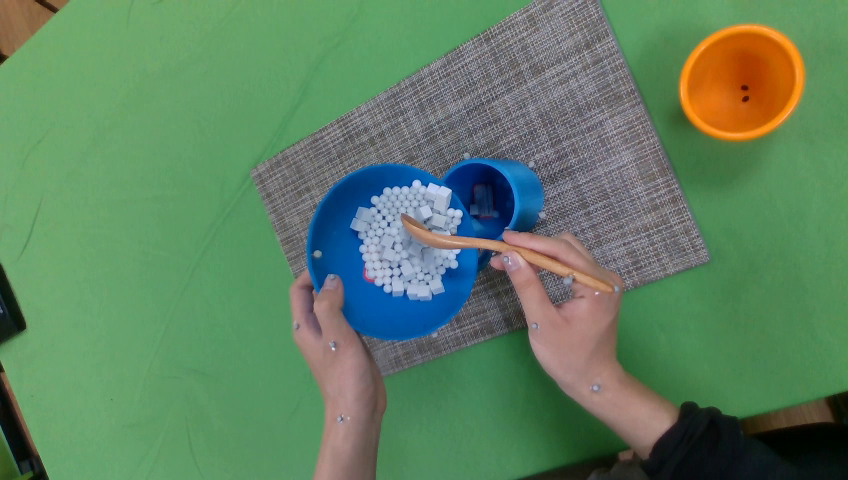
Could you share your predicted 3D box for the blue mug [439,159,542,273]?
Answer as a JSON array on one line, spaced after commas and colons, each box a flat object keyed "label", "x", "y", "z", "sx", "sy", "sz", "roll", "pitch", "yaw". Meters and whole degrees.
[{"label": "blue mug", "x": 0.062, "y": -0.022, "z": 0.598, "sx": 0.082, "sy": 0.106, "sz": 0.117, "roll": 17, "pitch": 103, "yaw": 20}]

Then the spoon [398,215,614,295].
[{"label": "spoon", "x": 0.053, "y": 0.009, "z": 0.463, "sx": 0.192, "sy": 0.042, "sz": 0.021, "roll": 14, "pitch": 81, "yaw": 37}]

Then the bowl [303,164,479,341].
[{"label": "bowl", "x": -0.035, "y": 0.015, "z": 0.535, "sx": 0.152, "sy": 0.077, "sz": 0.151, "roll": 4, "pitch": 79, "yaw": -18}]
